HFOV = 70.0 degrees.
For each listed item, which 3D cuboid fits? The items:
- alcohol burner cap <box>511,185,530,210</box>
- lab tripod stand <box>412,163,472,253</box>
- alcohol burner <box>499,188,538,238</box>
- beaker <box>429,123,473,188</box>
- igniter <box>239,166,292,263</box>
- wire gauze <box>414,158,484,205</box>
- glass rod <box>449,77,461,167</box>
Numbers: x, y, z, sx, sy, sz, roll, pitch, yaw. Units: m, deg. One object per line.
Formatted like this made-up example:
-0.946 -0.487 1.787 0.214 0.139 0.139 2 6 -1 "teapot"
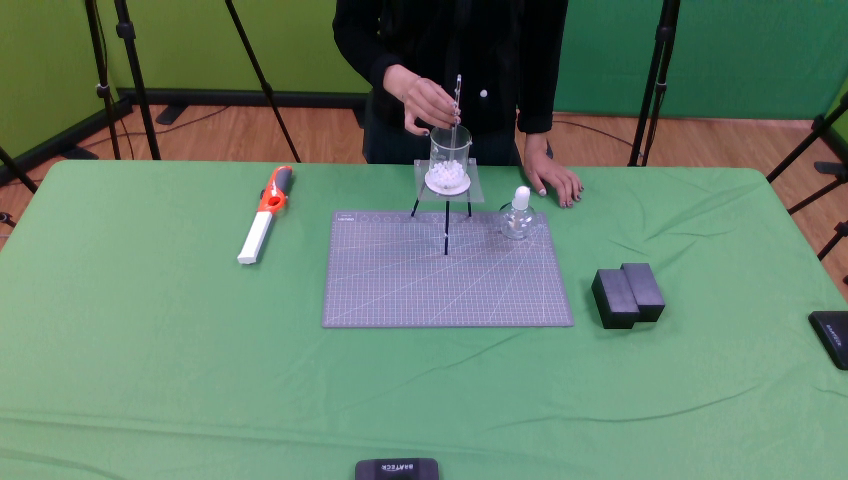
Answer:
0.190 -0.086 1.176 0.034 0.048 0.033 3 50 -3 "alcohol burner cap"
0.043 -0.069 1.187 0.148 0.132 0.147 3 47 -3 "lab tripod stand"
0.189 -0.060 1.202 0.078 0.120 0.077 1 48 -1 "alcohol burner"
0.044 -0.154 1.109 0.074 0.101 0.083 -25 54 -24 "beaker"
-0.318 -0.060 1.229 0.057 0.025 0.275 -2 45 9 "igniter"
0.045 -0.113 1.137 0.125 0.011 0.120 1 48 -6 "wire gauze"
0.053 -0.204 1.072 0.008 0.201 0.008 2 50 -2 "glass rod"
